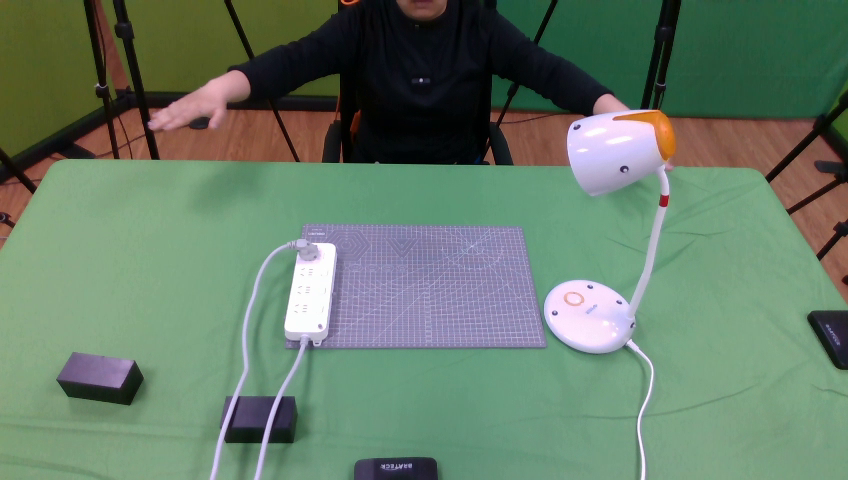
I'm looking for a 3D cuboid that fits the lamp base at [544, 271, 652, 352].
[{"bbox_3d":[0.309,0.086,1.029,0.178,0.181,0.160,32,52,21],"label":"lamp base"}]

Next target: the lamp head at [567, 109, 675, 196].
[{"bbox_3d":[0.272,-0.123,0.818,0.122,0.113,0.112,-9,35,37],"label":"lamp head"}]

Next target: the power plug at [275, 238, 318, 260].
[{"bbox_3d":[-0.232,0.018,1.119,0.072,0.053,0.035,9,46,6],"label":"power plug"}]

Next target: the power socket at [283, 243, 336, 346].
[{"bbox_3d":[-0.203,0.088,1.086,0.072,0.033,0.225,1,46,-2],"label":"power socket"}]
